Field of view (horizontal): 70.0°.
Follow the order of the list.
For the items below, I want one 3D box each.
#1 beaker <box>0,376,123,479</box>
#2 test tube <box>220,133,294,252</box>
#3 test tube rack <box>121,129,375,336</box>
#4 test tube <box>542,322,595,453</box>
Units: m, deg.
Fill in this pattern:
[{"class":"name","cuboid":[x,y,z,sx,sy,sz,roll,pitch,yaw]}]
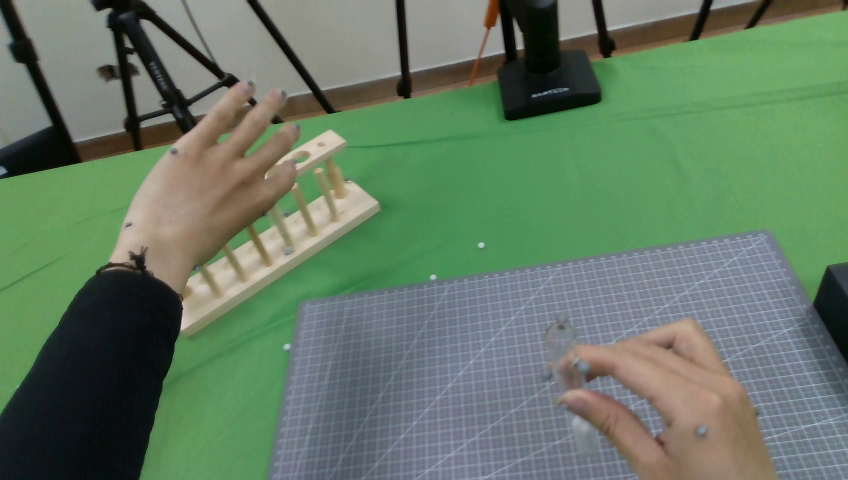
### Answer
[{"class":"beaker","cuboid":[-0.300,0.168,0.490,0.073,0.101,0.083,12,50,25]},{"class":"test tube","cuboid":[-0.163,-0.043,0.601,0.017,0.152,0.017,-9,44,9]},{"class":"test tube rack","cuboid":[-0.176,-0.012,0.639,0.242,0.086,0.066,-35,47,-18]},{"class":"test tube","cuboid":[0.087,0.093,0.355,0.017,0.152,0.017,-11,49,13]}]
